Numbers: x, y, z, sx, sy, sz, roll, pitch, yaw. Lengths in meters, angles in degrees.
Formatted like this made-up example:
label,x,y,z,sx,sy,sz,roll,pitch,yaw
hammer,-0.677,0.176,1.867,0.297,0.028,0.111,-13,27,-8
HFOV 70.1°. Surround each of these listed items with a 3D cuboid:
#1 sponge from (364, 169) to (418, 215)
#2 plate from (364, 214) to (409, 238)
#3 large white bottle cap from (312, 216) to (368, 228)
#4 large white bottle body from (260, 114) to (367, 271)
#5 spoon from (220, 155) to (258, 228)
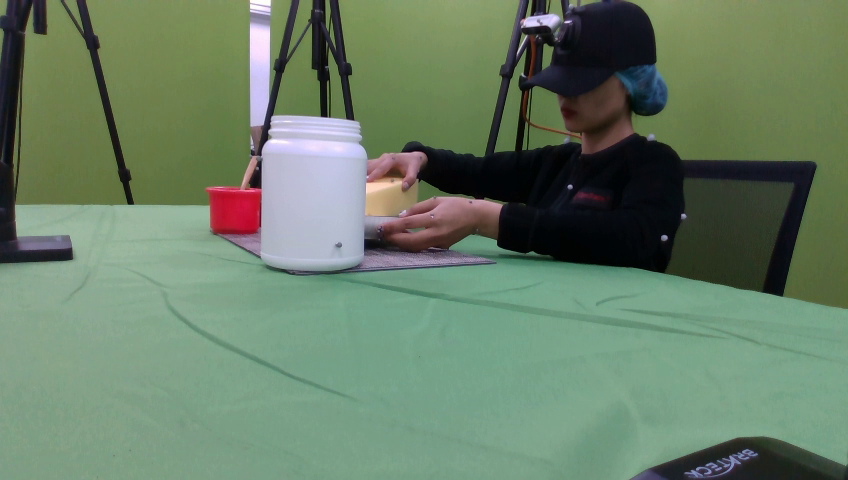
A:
label,x,y,z,sx,sy,sz,roll,pitch,yaw
sponge,-0.107,-0.081,1.098,0.118,0.061,0.207,10,17,22
plate,-0.128,-0.023,0.979,0.209,0.038,0.209,1,0,0
large white bottle cap,-0.171,-0.038,1.234,0.115,0.018,0.115,2,5,0
large white bottle body,-0.139,-0.061,0.763,0.131,0.184,0.130,3,8,0
spoon,-0.325,-0.090,1.091,0.041,0.021,0.193,3,51,3
